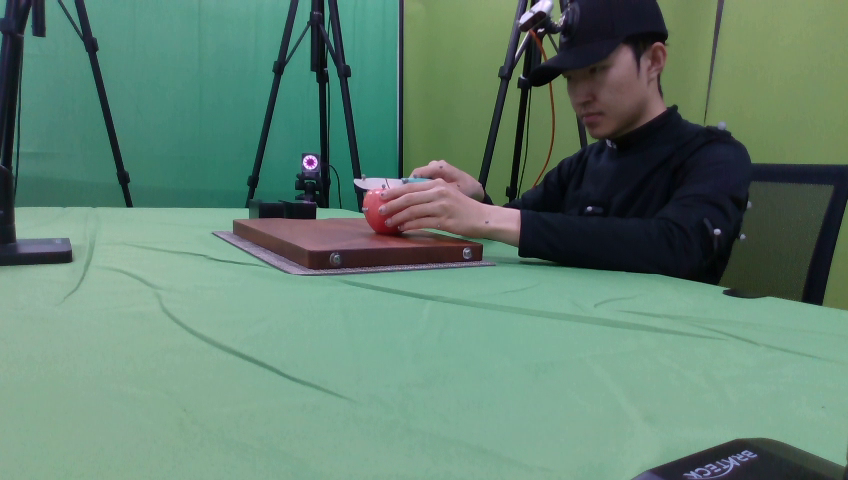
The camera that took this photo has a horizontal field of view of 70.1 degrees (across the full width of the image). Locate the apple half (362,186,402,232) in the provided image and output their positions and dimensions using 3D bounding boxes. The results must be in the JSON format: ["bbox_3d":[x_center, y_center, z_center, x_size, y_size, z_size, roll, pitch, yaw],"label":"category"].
[{"bbox_3d":[-0.073,-0.051,0.968,0.082,0.081,0.032,-4,11,-43],"label":"apple half"}]

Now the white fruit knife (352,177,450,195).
[{"bbox_3d":[-0.032,-0.090,0.979,0.208,0.027,0.016,-2,11,-44],"label":"white fruit knife"}]

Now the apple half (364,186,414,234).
[{"bbox_3d":[-0.047,-0.046,0.940,0.081,0.074,0.053,-4,12,-43],"label":"apple half"}]
